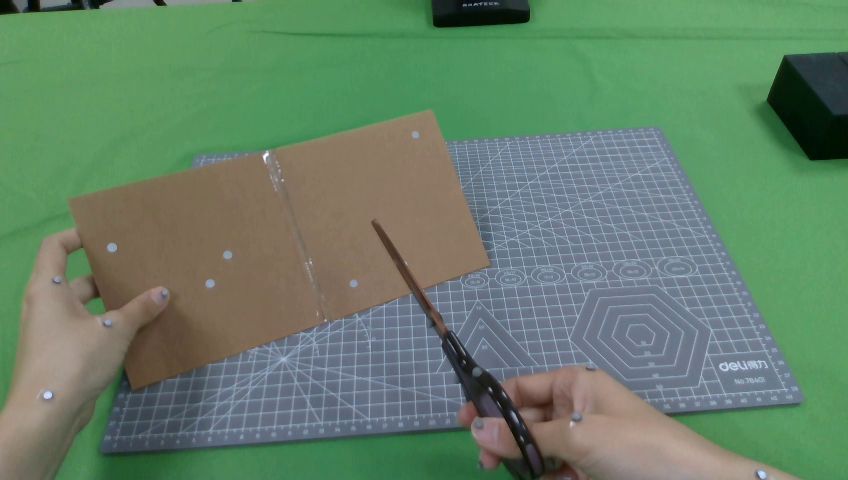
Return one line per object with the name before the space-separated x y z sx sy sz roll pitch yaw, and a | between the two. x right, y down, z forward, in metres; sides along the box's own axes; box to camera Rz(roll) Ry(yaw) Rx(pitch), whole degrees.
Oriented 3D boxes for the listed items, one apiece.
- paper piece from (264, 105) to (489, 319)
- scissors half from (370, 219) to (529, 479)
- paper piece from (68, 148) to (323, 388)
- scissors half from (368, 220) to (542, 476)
paper piece | -0.033 -0.025 0.461 0.138 0.008 0.136 -18 89 -16
scissors half | 0.011 0.060 0.357 0.013 0.040 0.174 -28 78 -17
paper piece | -0.154 0.016 0.423 0.136 0.135 0.004 -18 4 -19
scissors half | 0.011 0.051 0.339 0.013 0.040 0.173 -30 61 -12
